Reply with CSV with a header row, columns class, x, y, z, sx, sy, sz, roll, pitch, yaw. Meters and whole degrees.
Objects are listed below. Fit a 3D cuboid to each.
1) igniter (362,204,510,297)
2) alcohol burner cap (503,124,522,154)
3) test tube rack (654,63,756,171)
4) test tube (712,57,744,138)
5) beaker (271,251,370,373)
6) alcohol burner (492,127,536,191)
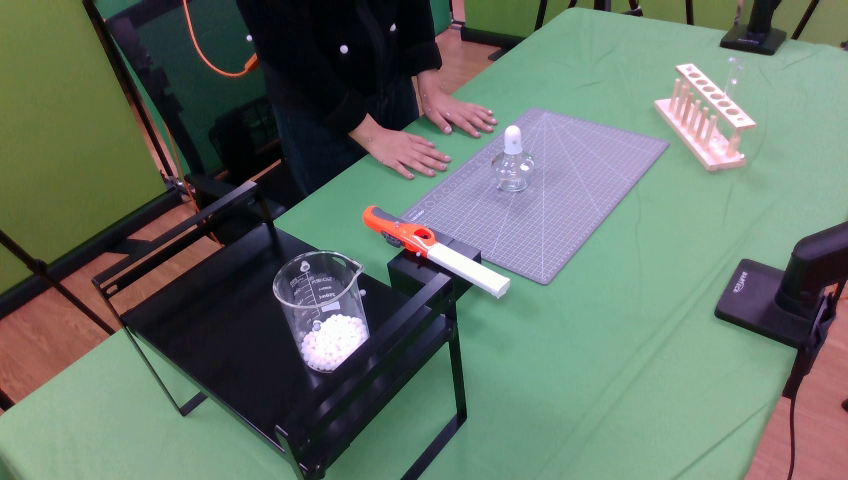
class,x,y,z,sx,sy,sz,roll,pitch,yaw
igniter,0.007,0.009,0.887,0.274,0.025,0.057,29,50,32
alcohol burner cap,0.150,-0.173,1.022,0.034,0.048,0.033,-4,36,3
test tube rack,0.510,-0.233,1.120,0.067,0.085,0.241,-8,41,-1
test tube,0.530,-0.246,1.056,0.017,0.151,0.017,-1,39,1
beaker,-0.090,0.069,0.571,0.084,0.101,0.073,-19,42,-13
alcohol burner,0.156,-0.146,1.046,0.078,0.119,0.077,-4,43,4
